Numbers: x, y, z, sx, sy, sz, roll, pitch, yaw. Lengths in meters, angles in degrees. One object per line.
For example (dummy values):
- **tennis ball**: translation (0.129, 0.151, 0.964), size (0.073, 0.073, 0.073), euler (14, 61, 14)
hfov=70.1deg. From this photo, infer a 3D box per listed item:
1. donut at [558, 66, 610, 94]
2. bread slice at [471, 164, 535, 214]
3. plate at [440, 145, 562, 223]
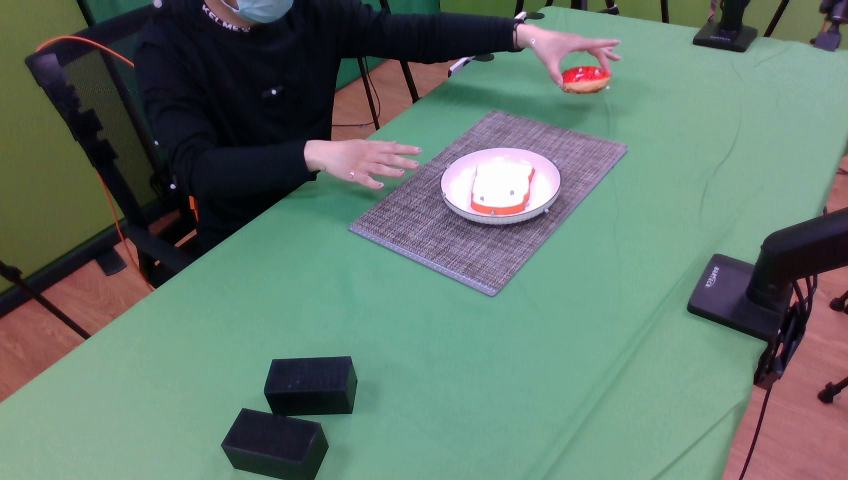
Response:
- **donut**: translation (0.315, -0.317, 1.194), size (0.099, 0.048, 0.098), euler (-7, 25, 4)
- **bread slice**: translation (0.134, -0.090, 1.038), size (0.104, 0.019, 0.131), euler (3, 41, 13)
- **plate**: translation (0.131, -0.093, 1.040), size (0.207, 0.039, 0.206), euler (-4, 41, 4)
